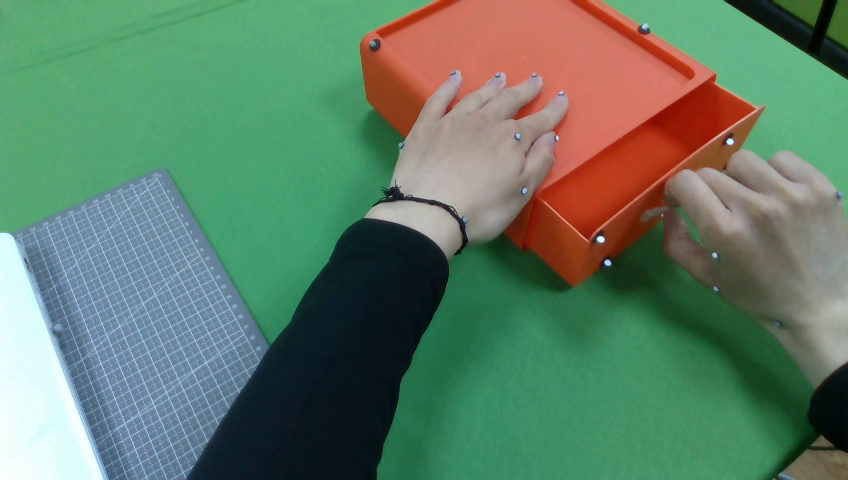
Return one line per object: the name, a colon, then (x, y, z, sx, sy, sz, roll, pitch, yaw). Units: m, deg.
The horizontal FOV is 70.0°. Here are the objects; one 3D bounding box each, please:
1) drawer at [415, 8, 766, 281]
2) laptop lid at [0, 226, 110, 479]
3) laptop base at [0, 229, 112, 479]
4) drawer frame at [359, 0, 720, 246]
drawer: (0.120, -0.099, 0.490, 0.194, 0.074, 0.210, -34, 62, -20)
laptop lid: (-0.390, 0.149, 0.347, 0.357, 0.013, 0.239, -28, 63, -17)
laptop base: (-0.391, 0.153, 0.358, 0.354, 0.023, 0.233, -29, 64, -18)
drawer frame: (0.089, -0.128, 0.510, 0.201, 0.083, 0.211, -34, 62, -20)
